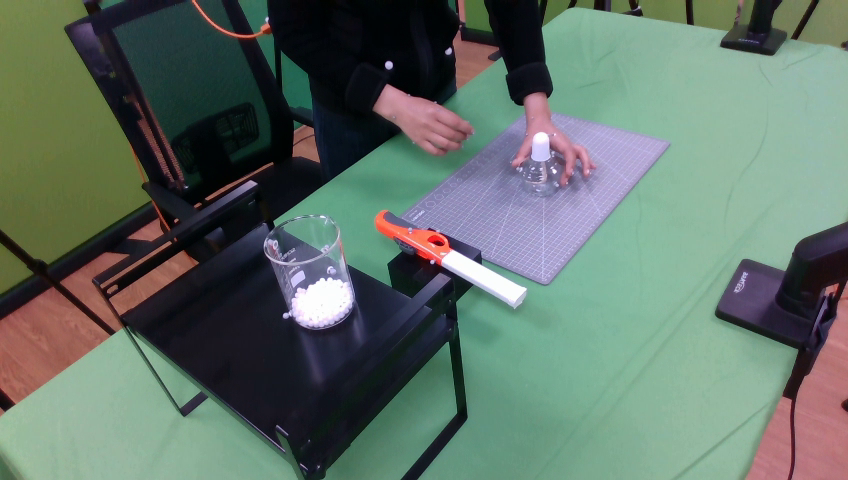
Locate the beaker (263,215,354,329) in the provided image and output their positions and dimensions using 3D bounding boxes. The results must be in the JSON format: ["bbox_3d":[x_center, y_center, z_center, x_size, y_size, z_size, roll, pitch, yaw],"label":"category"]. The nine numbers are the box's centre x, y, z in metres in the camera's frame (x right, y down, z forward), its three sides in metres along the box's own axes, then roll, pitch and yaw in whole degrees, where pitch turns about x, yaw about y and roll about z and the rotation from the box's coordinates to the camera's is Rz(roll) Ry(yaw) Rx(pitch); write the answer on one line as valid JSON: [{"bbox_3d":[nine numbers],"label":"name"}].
[{"bbox_3d":[-0.112,0.034,0.616,0.073,0.101,0.084,13,44,23],"label":"beaker"}]

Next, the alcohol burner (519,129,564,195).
[{"bbox_3d":[0.199,-0.136,1.028,0.078,0.119,0.077,-5,42,5],"label":"alcohol burner"}]

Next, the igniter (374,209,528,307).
[{"bbox_3d":[0.027,0.019,0.873,0.274,0.025,0.057,29,52,31],"label":"igniter"}]

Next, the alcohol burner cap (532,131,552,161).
[{"bbox_3d":[0.196,-0.160,1.009,0.034,0.048,0.033,-5,44,5],"label":"alcohol burner cap"}]
